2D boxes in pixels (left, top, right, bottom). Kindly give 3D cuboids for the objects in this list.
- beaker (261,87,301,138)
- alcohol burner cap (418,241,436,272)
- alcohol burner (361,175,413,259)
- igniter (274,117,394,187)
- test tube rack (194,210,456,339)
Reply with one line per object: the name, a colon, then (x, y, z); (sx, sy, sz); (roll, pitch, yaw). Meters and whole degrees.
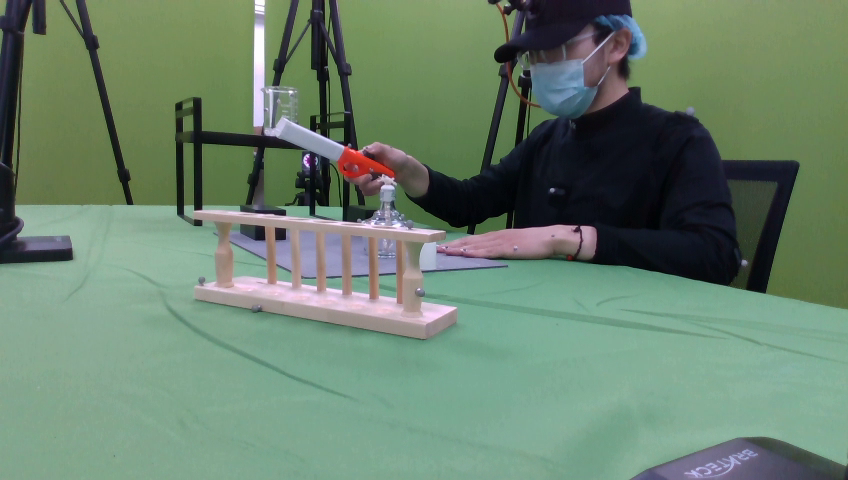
beaker: (-0.298, -0.263, 1.255); (0.084, 0.100, 0.073); (-5, 10, -40)
alcohol burner cap: (0.001, 0.016, 0.787); (0.034, 0.048, 0.034); (4, 8, 0)
alcohol burner: (-0.054, -0.033, 0.870); (0.078, 0.119, 0.078); (1, 9, 0)
igniter: (-0.141, -0.144, 1.034); (0.025, 0.057, 0.278); (42, 13, 36)
test tube rack: (-0.093, 0.023, 0.546); (0.241, 0.085, 0.067); (6, 8, 25)
